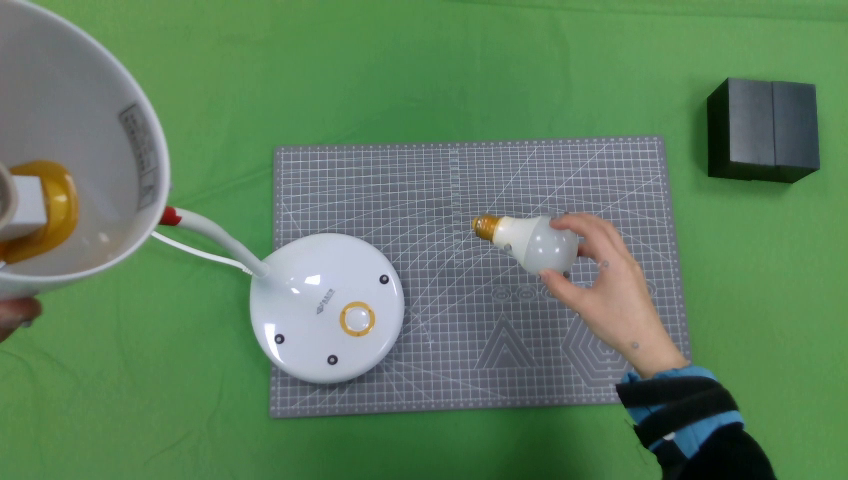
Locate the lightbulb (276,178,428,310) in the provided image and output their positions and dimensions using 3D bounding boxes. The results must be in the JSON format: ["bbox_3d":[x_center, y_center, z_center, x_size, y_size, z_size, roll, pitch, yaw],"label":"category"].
[{"bbox_3d":[-0.044,0.009,0.292,0.060,0.107,0.059,21,57,-36],"label":"lightbulb"}]

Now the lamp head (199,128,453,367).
[{"bbox_3d":[-0.060,0.018,0.318,0.113,0.123,0.111,20,56,-32],"label":"lamp head"}]

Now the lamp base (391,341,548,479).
[{"bbox_3d":[0.039,0.159,0.607,0.179,0.182,0.159,8,67,11],"label":"lamp base"}]
